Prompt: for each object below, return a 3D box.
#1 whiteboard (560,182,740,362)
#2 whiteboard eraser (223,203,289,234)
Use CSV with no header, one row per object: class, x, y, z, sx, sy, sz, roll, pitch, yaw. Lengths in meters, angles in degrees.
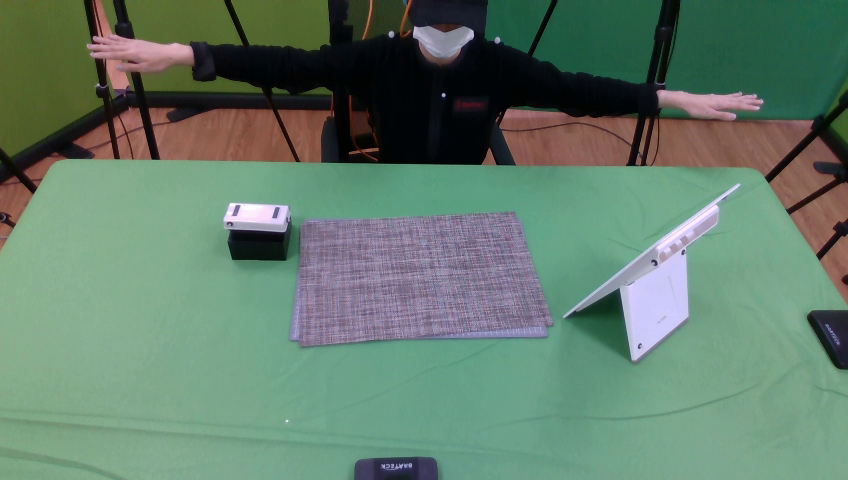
whiteboard,0.406,0.075,1.001,0.217,0.306,0.143,-28,73,-28
whiteboard eraser,-0.311,-0.039,1.127,0.113,0.042,0.055,3,47,-2
